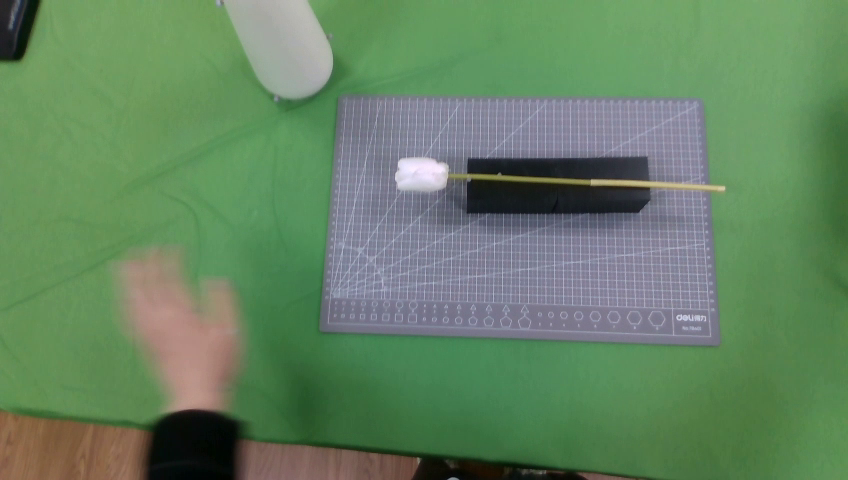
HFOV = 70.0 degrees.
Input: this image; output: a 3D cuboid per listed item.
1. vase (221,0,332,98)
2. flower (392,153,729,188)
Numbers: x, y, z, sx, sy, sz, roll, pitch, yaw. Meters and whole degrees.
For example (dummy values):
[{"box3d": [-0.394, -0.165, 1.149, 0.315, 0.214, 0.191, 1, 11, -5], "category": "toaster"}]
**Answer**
[{"box3d": [-0.168, -0.245, 0.686, 0.098, 0.201, 0.097, -1, 74, 3], "category": "vase"}, {"box3d": [0.145, -0.071, 0.667, 0.361, 0.038, 0.043, 3, 43, 8], "category": "flower"}]
